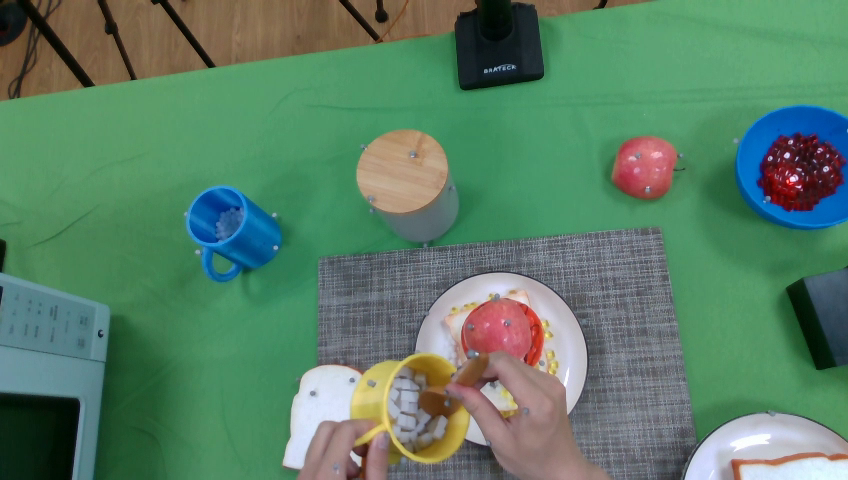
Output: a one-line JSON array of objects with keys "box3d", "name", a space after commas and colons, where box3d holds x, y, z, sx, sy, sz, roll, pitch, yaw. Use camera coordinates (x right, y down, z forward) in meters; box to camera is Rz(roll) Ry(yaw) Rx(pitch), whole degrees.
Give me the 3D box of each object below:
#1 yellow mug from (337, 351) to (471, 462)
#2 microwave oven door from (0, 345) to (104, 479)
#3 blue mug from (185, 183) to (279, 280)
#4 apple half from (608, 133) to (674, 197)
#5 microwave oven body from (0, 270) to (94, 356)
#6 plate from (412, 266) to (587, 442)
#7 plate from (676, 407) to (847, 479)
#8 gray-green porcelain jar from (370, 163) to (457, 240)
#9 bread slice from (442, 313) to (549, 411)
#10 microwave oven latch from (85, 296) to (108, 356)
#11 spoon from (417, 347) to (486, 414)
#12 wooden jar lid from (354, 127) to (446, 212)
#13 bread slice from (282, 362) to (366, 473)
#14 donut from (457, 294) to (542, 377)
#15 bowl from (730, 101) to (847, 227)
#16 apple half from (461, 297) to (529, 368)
[{"box3d": [-0.024, 0.165, 0.576, 0.131, 0.064, 0.100, -18, 85, -38], "name": "yellow mug"}, {"box3d": [-0.460, 0.297, 0.659, 0.039, 0.245, 0.353, -6, 73, 9], "name": "microwave oven door"}, {"box3d": [-0.257, -0.003, 0.802, 0.082, 0.106, 0.116, 15, 77, 14], "name": "blue mug"}, {"box3d": [0.275, -0.101, 0.766, 0.074, 0.054, 0.080, 16, 77, 17], "name": "apple half"}, {"box3d": [-0.604, 0.271, 0.697, 0.325, 0.262, 0.439, -5, 73, 8], "name": "microwave oven body"}, {"box3d": [0.089, 0.136, 0.733, 0.207, 0.039, 0.206, -3, 74, 9], "name": "plate"}, {"box3d": [0.373, 0.284, 0.643, 0.209, 0.038, 0.208, -3, 73, 9], "name": "plate"}, {"box3d": [-0.015, -0.062, 0.767, 0.105, 0.127, 0.105, -3, 73, 9], "name": "gray-green porcelain jar"}, {"box3d": [0.093, 0.139, 0.742, 0.107, 0.018, 0.133, -22, 63, -1], "name": "bread slice"}, {"box3d": [-0.450, 0.117, 0.817, 0.030, 0.030, 0.078, -2, 74, 9], "name": "microwave oven latch"}, {"box3d": [0.026, 0.126, 0.526, 0.041, 0.194, 0.021, 22, 65, 0], "name": "spoon"}, {"box3d": [-0.027, -0.081, 0.707, 0.108, 0.021, 0.107, -2, 71, 7], "name": "wooden jar lid"}, {"box3d": [-0.121, 0.219, 0.757, 0.105, 0.019, 0.131, 2, 76, 9], "name": "bread slice"}, {"box3d": [0.088, 0.112, 0.710, 0.099, 0.048, 0.098, -3, 74, 10], "name": "donut"}, {"box3d": [0.434, -0.078, 0.717, 0.151, 0.077, 0.150, -3, 74, 10], "name": "bowl"}, {"box3d": [0.079, 0.101, 0.677, 0.081, 0.033, 0.081, -5, 71, 15], "name": "apple half"}]
